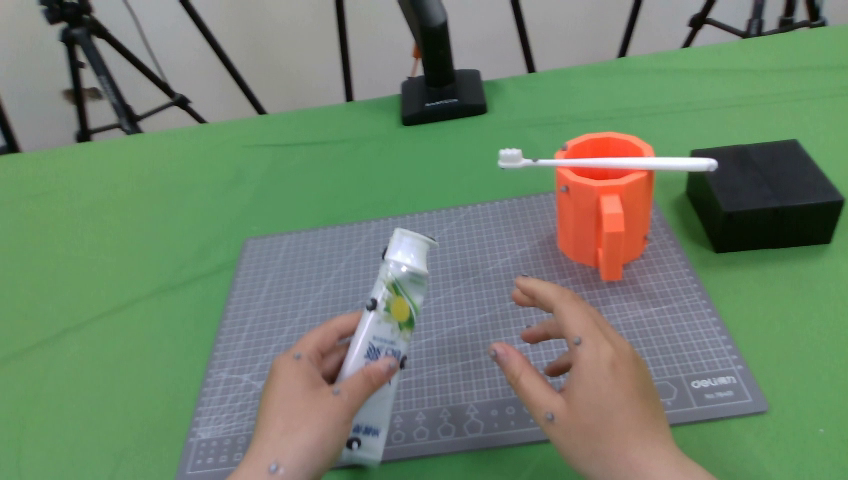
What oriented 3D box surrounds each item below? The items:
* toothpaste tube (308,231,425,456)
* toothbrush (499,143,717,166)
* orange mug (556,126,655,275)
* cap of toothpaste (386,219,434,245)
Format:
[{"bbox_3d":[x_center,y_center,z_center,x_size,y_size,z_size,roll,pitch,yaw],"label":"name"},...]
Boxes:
[{"bbox_3d":[-0.034,0.069,0.433,0.055,0.164,0.034,17,-6,-15],"label":"toothpaste tube"},{"bbox_3d":[0.154,-0.074,0.523,0.181,0.017,0.014,4,35,18],"label":"toothbrush"},{"bbox_3d":[0.166,-0.032,0.553,0.083,0.102,0.125,-3,37,11],"label":"orange mug"},{"bbox_3d":[-0.010,-0.004,0.441,0.037,0.037,0.011,17,84,30],"label":"cap of toothpaste"}]
